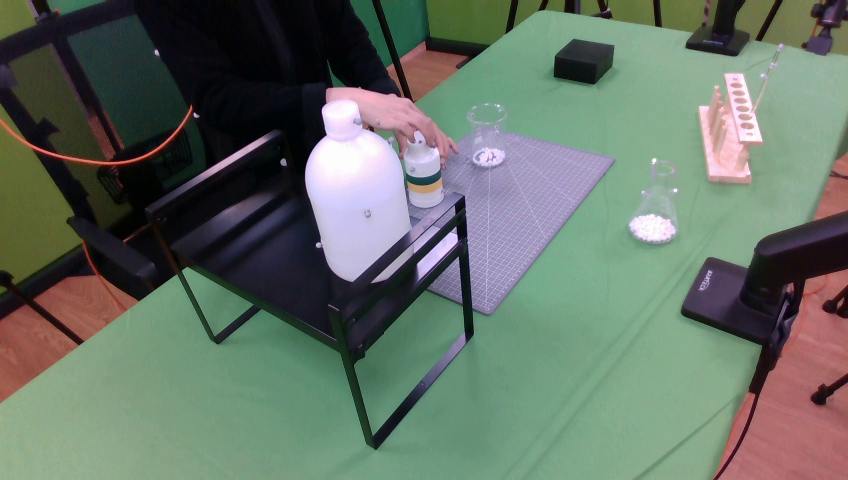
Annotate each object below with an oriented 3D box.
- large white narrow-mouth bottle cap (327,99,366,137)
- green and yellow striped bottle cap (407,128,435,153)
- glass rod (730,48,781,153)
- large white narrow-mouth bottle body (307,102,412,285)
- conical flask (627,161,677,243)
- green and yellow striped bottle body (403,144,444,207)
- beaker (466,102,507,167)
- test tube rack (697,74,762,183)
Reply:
[{"bbox_3d":[-0.075,-0.117,0.582,0.038,0.024,0.037,-3,40,3],"label":"large white narrow-mouth bottle cap"},{"bbox_3d":[-0.006,-0.165,1.002,0.045,0.020,0.045,-8,45,9],"label":"green and yellow striped bottle cap"},{"bbox_3d":[0.554,-0.228,1.015,0.008,0.200,0.008,1,44,-1],"label":"glass rod"},{"bbox_3d":[-0.070,-0.051,0.638,0.102,0.195,0.101,-3,40,3],"label":"large white narrow-mouth bottle body"},{"bbox_3d":[0.355,-0.061,0.921,0.075,0.122,0.075,-4,41,4],"label":"conical flask"},{"bbox_3d":[-0.001,-0.121,1.039,0.063,0.120,0.063,-4,40,4],"label":"green and yellow striped bottle body"},{"bbox_3d":[0.121,-0.195,1.124,0.084,0.101,0.073,-34,48,-28],"label":"beaker"},{"bbox_3d":[0.547,-0.208,1.095,0.066,0.085,0.242,5,42,15],"label":"test tube rack"}]
